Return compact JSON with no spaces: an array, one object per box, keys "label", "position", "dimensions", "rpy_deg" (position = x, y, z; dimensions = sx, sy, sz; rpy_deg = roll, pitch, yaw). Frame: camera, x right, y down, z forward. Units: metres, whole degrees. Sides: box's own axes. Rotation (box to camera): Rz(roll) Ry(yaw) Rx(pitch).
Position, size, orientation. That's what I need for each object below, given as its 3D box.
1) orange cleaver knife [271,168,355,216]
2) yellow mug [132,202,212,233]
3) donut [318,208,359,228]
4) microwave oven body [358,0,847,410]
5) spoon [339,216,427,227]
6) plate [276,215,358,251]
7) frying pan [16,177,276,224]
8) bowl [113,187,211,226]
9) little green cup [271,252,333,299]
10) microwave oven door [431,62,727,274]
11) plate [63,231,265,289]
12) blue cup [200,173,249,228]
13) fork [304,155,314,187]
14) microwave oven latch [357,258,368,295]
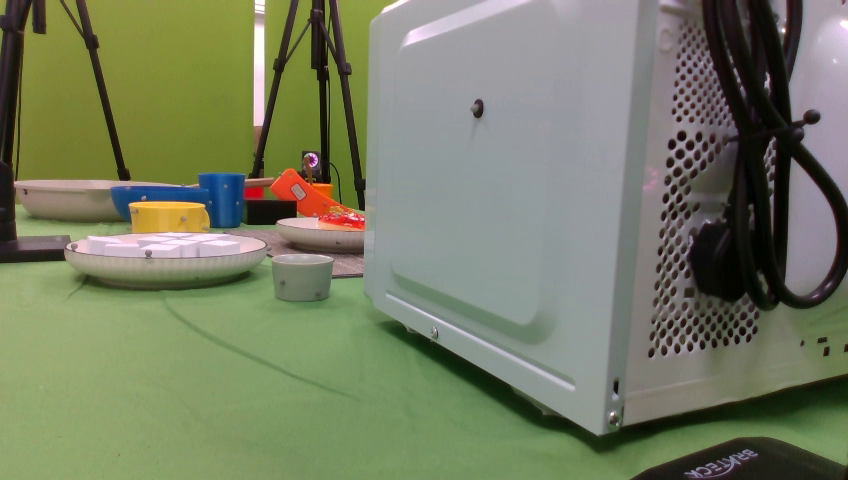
[{"label":"orange cleaver knife","position":[-0.236,-0.084,1.333],"dimensions":[0.212,0.077,0.012],"rpy_deg":[31,-9,-32]},{"label":"yellow mug","position":[-0.356,-0.020,0.878],"dimensions":[0.099,0.064,0.131],"rpy_deg":[5,7,21]},{"label":"donut","position":[-0.118,-0.024,0.954],"dimensions":[0.099,0.048,0.099],"rpy_deg":[5,7,0]},{"label":"microwave oven body","position":[0.210,-0.051,0.471],"dimensions":[0.444,0.260,0.324],"rpy_deg":[-1,7,-28]},{"label":"spoon","position":[-0.087,-0.041,1.268],"dimensions":[0.193,0.021,0.041],"rpy_deg":[3,19,13]},{"label":"plate","position":[-0.126,-0.012,0.950],"dimensions":[0.209,0.038,0.209],"rpy_deg":[2,7,0]},{"label":"frying pan","position":[-0.553,-0.097,1.265],"dimensions":[0.490,0.102,0.305],"rpy_deg":[-10,13,-24]},{"label":"bowl","position":[-0.436,-0.046,1.013],"dimensions":[0.151,0.077,0.151],"rpy_deg":[2,7,0]},{"label":"little green cup","position":[-0.122,0.035,0.605],"dimensions":[0.061,0.038,0.061],"rpy_deg":[3,6,0]},{"label":"microwave oven door","position":[0.179,-0.096,0.768],"dimensions":[0.354,0.243,0.039],"rpy_deg":[5,9,24]},{"label":"plate","position":[-0.288,0.021,0.687],"dimensions":[0.208,0.039,0.207],"rpy_deg":[2,8,0]},{"label":"blue cup","position":[-0.380,-0.076,1.154],"dimensions":[0.093,0.100,0.092],"rpy_deg":[0,8,0]},{"label":"fork","position":[-0.268,-0.134,1.447],"dimensions":[0.028,0.018,0.207],"rpy_deg":[2,-36,-1]},{"label":"microwave oven latch","position":[-0.019,0.031,0.529],"dimensions":[0.079,0.029,0.030],"rpy_deg":[-1,7,-26]}]
